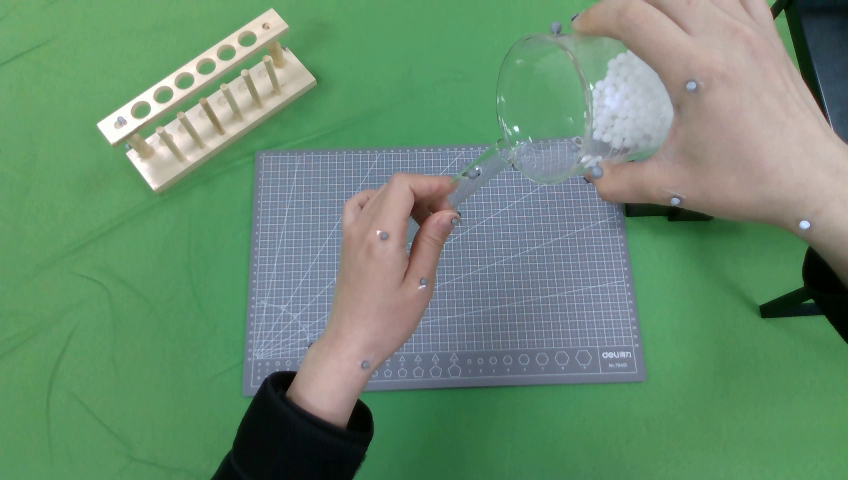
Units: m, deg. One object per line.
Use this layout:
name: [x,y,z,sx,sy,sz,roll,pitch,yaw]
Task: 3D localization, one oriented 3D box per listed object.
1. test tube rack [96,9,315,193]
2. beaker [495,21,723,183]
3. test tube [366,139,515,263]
test tube rack: [-0.255,-0.167,0.733,0.242,0.085,0.066,-38,76,-11]
beaker: [0.098,-0.074,0.323,0.100,0.084,0.073,-15,75,-24]
test tube: [0.004,-0.020,0.391,0.017,0.150,0.017,19,54,-29]
